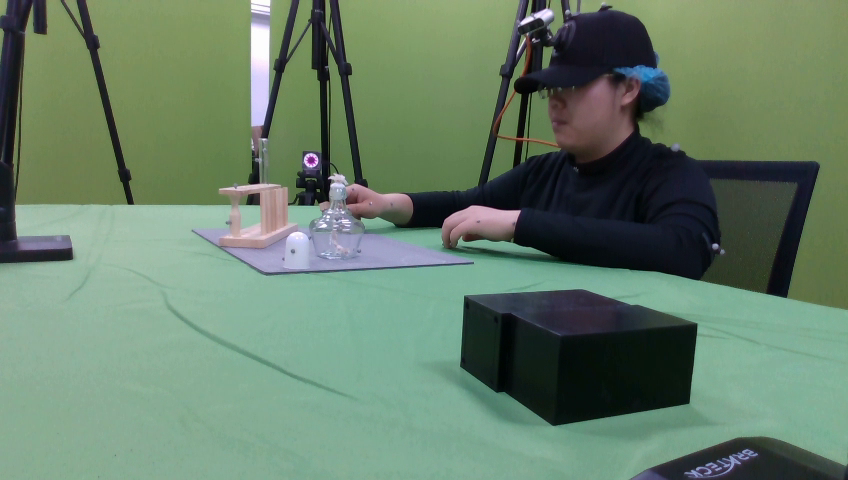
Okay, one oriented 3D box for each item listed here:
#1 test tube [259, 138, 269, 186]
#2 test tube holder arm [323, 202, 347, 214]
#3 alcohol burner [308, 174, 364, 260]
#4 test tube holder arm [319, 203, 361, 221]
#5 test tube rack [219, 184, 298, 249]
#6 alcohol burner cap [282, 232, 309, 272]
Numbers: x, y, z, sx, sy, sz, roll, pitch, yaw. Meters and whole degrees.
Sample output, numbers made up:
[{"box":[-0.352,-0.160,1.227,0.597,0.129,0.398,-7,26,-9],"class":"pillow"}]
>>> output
[{"box":[-0.281,-0.104,1.064,0.017,0.150,0.017,2,12,0],"class":"test tube"},{"box":[-0.160,-0.056,1.089,0.010,0.015,0.088,-9,-6,14],"class":"test tube holder arm"},{"box":[-0.121,-0.033,0.841,0.078,0.119,0.078,3,5,0],"class":"alcohol burner"},{"box":[-0.155,-0.052,1.134,0.013,0.015,0.179,-9,-6,12],"class":"test tube holder arm"},{"box":[-0.266,-0.046,1.001,0.067,0.085,0.242,3,7,0],"class":"test tube rack"},{"box":[-0.157,0.014,0.740,0.034,0.048,0.034,2,6,0],"class":"alcohol burner cap"}]
